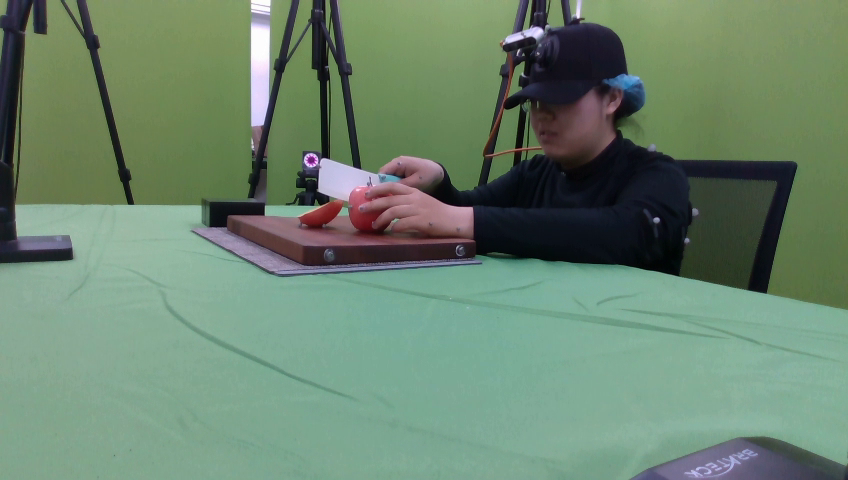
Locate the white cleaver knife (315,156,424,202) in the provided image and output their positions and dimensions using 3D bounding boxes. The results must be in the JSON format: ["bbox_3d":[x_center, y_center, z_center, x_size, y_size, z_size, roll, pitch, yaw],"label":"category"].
[{"bbox_3d":[-0.086,-0.086,1.016,0.021,0.066,0.288,0,-4,34],"label":"white cleaver knife"}]

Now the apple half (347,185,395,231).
[{"bbox_3d":[-0.076,-0.049,0.948,0.053,0.074,0.081,12,8,33],"label":"apple half"}]

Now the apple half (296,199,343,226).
[{"bbox_3d":[-0.163,-0.041,0.979,0.081,0.033,0.081,-21,8,3],"label":"apple half"}]
